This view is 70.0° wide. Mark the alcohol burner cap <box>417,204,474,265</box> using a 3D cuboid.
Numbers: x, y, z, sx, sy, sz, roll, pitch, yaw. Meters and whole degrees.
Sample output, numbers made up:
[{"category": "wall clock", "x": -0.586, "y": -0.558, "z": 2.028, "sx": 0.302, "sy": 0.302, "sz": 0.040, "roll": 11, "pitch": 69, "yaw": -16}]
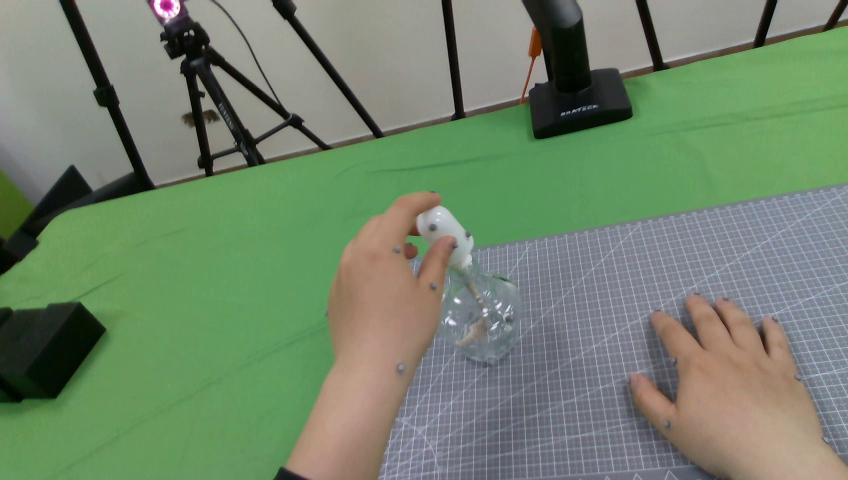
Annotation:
[{"category": "alcohol burner cap", "x": 0.014, "y": -0.007, "z": 0.457, "sx": 0.034, "sy": 0.048, "sz": 0.033, "roll": -20, "pitch": 43, "yaw": 20}]

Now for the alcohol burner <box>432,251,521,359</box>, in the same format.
[{"category": "alcohol burner", "x": 0.040, "y": 0.044, "z": 0.504, "sx": 0.078, "sy": 0.120, "sz": 0.077, "roll": -11, "pitch": 40, "yaw": 10}]
